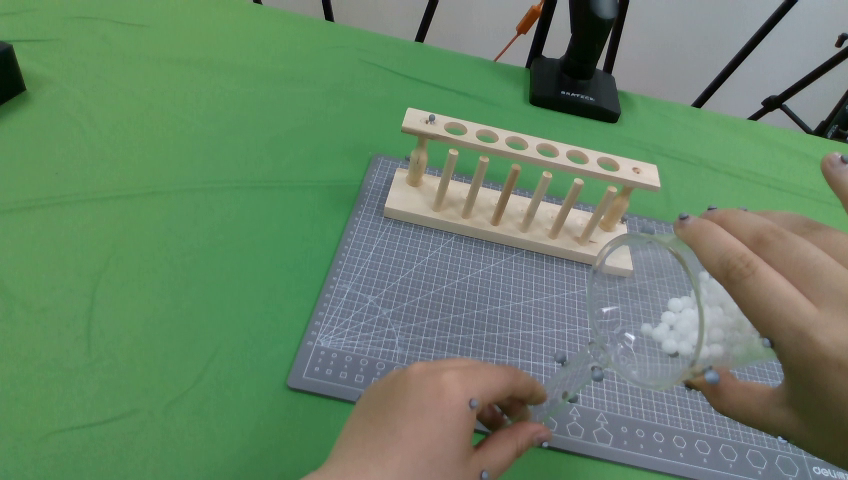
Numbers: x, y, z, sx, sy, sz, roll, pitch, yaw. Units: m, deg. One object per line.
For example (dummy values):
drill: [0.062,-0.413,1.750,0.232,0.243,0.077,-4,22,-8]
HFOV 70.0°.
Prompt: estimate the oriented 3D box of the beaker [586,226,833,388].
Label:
beaker: [0.143,0.032,0.307,0.101,0.084,0.073,-4,52,-24]

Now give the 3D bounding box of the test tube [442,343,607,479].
test tube: [0.053,0.110,0.356,0.017,0.151,0.017,24,34,-18]

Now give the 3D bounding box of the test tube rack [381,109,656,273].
test tube rack: [0.088,-0.046,0.579,0.242,0.086,0.066,13,43,-1]
